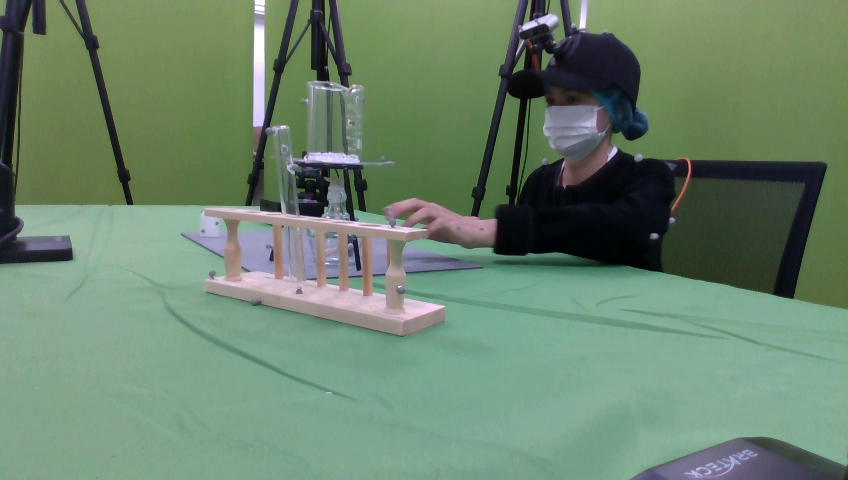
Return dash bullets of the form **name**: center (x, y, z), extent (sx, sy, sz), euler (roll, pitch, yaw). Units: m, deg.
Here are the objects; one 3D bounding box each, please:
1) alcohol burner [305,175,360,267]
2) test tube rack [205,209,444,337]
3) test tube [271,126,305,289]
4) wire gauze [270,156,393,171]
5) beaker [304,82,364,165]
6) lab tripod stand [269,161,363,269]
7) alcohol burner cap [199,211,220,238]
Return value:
- **alcohol burner**: center (-0.117, -0.025, 0.792), extent (0.078, 0.119, 0.078), euler (1, 8, 0)
- **test tube rack**: center (-0.100, 0.021, 0.565), extent (0.241, 0.085, 0.067), euler (7, 8, 32)
- **test tube**: center (-0.124, -0.028, 0.554), extent (0.017, 0.150, 0.017), euler (-5, 7, 1)
- **wire gauze**: center (-0.122, -0.100, 0.786), extent (0.122, 0.011, 0.124), euler (-5, 14, -38)
- **beaker**: center (-0.115, -0.148, 0.779), extent (0.074, 0.100, 0.083), euler (-2, 10, -30)
- **lab tripod stand**: center (-0.125, -0.036, 0.794), extent (0.148, 0.131, 0.148), euler (5, 7, 0)
- **alcohol burner cap**: center (-0.356, -0.027, 1.002), extent (0.034, 0.048, 0.034), euler (3, 7, 0)
